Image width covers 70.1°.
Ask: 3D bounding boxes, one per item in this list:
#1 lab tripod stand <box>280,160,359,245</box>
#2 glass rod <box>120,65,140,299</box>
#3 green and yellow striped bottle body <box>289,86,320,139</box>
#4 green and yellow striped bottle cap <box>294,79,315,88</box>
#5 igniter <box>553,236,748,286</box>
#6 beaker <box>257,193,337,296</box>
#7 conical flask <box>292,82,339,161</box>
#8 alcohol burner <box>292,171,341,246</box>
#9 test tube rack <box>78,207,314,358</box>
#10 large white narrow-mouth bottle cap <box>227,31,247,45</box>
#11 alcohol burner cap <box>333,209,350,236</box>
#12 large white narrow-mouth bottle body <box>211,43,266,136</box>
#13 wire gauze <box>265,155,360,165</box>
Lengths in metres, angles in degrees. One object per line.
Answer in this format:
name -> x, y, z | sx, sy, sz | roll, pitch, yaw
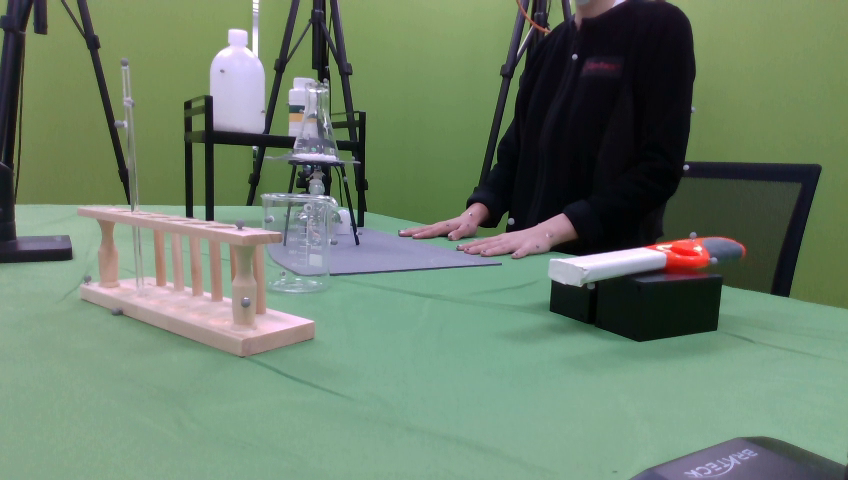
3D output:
lab tripod stand -> -0.176, -0.062, 0.973 | 0.148, 0.131, 0.148 | 1, 7, 0
glass rod -> -0.249, -0.047, 0.513 | 0.008, 0.199, 0.008 | -1, 4, 0
green and yellow striped bottle body -> -0.250, -0.272, 1.261 | 0.063, 0.119, 0.063 | 3, 7, 0
green and yellow striped bottle cap -> -0.248, -0.323, 1.256 | 0.045, 0.020, 0.045 | 3, 9, 0
igniter -> 0.221, 0.017, 0.559 | 0.278, 0.025, 0.057 | -5, 14, -39
beaker -> -0.130, 0.004, 0.628 | 0.084, 0.100, 0.074 | 5, 8, 15
conical flask -> -0.171, -0.185, 0.957 | 0.075, 0.122, 0.075 | 2, 7, 0
alcohol burner -> -0.171, -0.050, 0.962 | 0.078, 0.119, 0.078 | 1, 6, 0
test tube rack -> -0.196, 0.024, 0.499 | 0.241, 0.085, 0.067 | 8, 8, 37
large white narrow-mouth bottle cap -> -0.361, -0.388, 1.166 | 0.038, 0.024, 0.037 | 1, 7, 0
alcohol burner cap -> -0.151, -0.033, 1.116 | 0.034, 0.048, 0.034 | 3, 7, 0
large white narrow-mouth bottle body -> -0.361, -0.302, 1.176 | 0.102, 0.194, 0.102 | 1, 7, 0
wire gauze -> -0.181, -0.128, 0.969 | 0.126, 0.011, 0.121 | -3, 7, -26
